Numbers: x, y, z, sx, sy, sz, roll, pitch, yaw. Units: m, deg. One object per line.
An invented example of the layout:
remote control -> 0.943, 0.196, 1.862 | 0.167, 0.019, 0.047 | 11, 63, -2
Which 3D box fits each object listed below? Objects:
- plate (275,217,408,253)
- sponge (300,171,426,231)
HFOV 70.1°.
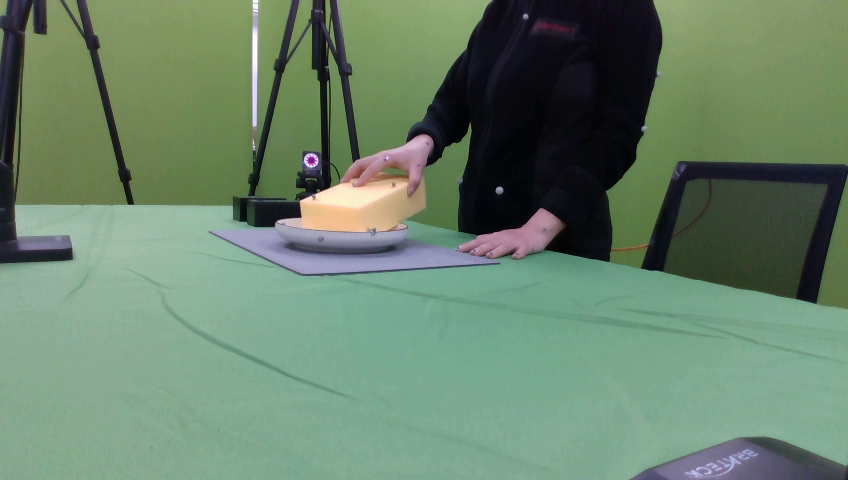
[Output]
plate -> -0.129, -0.009, 0.954 | 0.209, 0.038, 0.209 | 2, 7, 0
sponge -> -0.097, -0.061, 1.022 | 0.118, 0.061, 0.207 | 7, 23, 27
